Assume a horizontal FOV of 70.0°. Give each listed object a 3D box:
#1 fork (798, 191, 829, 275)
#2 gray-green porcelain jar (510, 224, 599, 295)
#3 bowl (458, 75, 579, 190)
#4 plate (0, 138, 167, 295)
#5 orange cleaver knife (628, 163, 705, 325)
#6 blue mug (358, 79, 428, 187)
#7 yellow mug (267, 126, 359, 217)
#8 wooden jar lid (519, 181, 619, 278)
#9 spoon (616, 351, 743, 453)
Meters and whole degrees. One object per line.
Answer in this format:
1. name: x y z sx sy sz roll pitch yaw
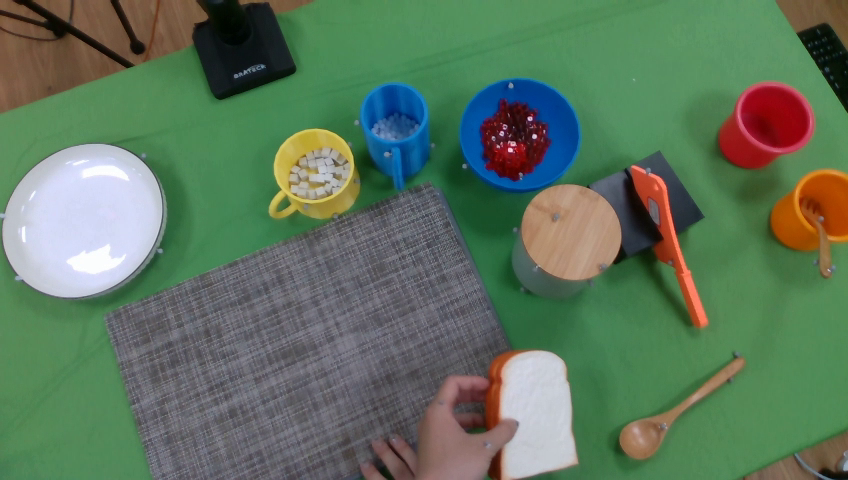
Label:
1. fork: 0.458 -0.012 0.708 0.028 0.019 0.207 40 35 4
2. gray-green porcelain jar: 0.159 0.007 0.719 0.106 0.127 0.105 0 75 1
3. bowl: 0.117 -0.126 0.780 0.151 0.077 0.150 0 75 1
4. plate: -0.432 -0.029 0.780 0.208 0.039 0.206 0 75 1
5. orange cleaver knife: 0.295 0.004 0.741 0.012 0.077 0.212 -24 102 -5
6. blue mug: -0.037 -0.126 0.767 0.082 0.106 0.116 -2 75 0
7. yellow mug: -0.149 -0.077 0.776 0.131 0.064 0.099 -43 78 -9
8. wooden jar lid: 0.156 -0.011 0.658 0.108 0.021 0.108 1 77 -2
9. spoon: 0.309 0.190 0.722 0.194 0.022 0.041 -33 59 -8
